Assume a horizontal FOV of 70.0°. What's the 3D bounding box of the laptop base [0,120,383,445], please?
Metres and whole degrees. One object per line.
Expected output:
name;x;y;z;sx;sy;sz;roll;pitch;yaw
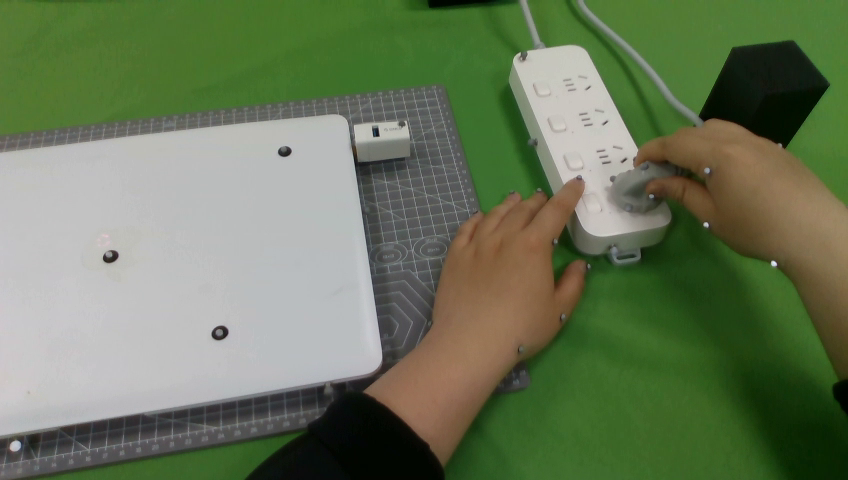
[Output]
laptop base;-0.219;0.022;0.439;0.355;0.023;0.233;-9;60;-7

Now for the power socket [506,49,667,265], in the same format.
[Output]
power socket;0.128;-0.081;0.506;0.072;0.033;0.224;-8;56;-8

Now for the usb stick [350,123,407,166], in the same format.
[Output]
usb stick;-0.044;-0.078;0.495;0.059;0.027;0.021;-9;55;-3

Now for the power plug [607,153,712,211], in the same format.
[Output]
power plug;0.174;-0.037;0.451;0.072;0.053;0.035;2;56;-1

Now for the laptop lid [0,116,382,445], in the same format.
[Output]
laptop lid;-0.219;0.017;0.428;0.357;0.013;0.239;-7;58;-6
